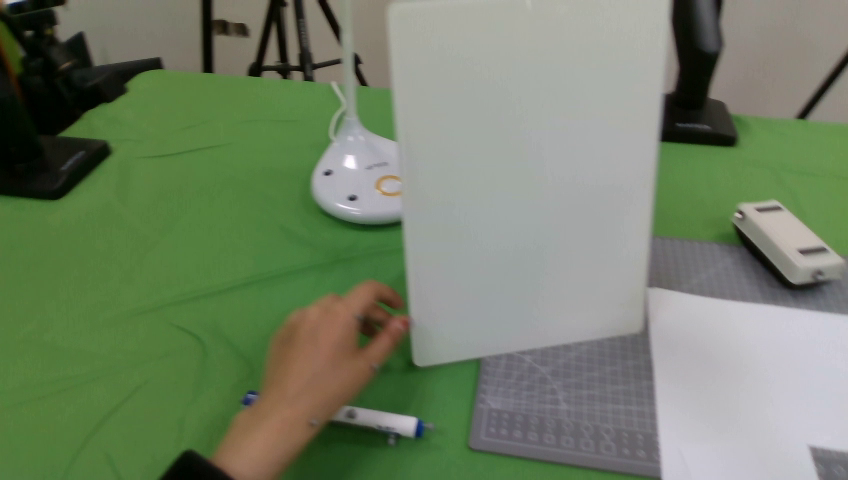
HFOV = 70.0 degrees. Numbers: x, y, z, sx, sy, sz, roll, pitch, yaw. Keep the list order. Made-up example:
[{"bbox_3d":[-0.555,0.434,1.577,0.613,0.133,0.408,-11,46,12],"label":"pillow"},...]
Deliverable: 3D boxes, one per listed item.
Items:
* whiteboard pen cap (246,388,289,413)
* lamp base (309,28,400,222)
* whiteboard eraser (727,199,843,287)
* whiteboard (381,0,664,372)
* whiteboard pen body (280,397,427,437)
[{"bbox_3d":[-0.126,0.131,0.491,0.033,0.018,0.018,7,40,5],"label":"whiteboard pen cap"},{"bbox_3d":[-0.069,-0.139,0.699,0.161,0.182,0.177,-27,44,-28],"label":"lamp base"},{"bbox_3d":[0.372,0.002,0.633,0.056,0.042,0.111,-9,40,-8],"label":"whiteboard eraser"},{"bbox_3d":[0.077,-0.063,0.555,0.217,0.307,0.142,-7,21,-7],"label":"whiteboard"},{"bbox_3d":[-0.068,0.140,0.485,0.140,0.017,0.017,7,40,7],"label":"whiteboard pen body"}]
